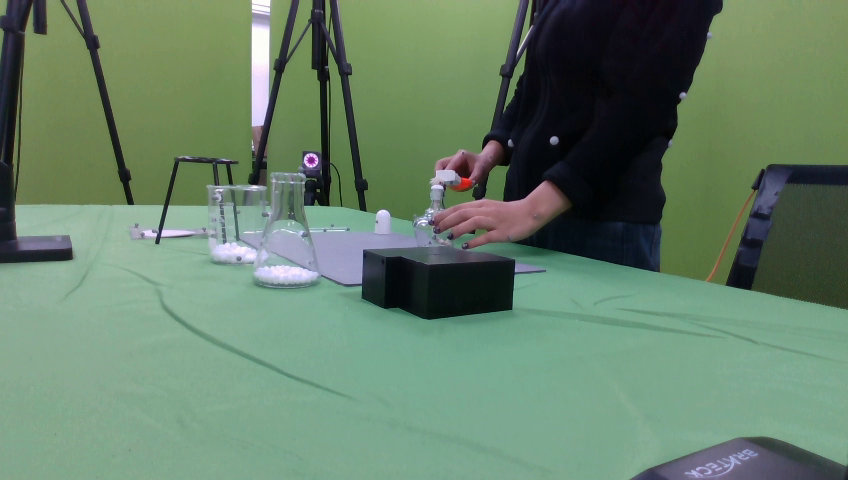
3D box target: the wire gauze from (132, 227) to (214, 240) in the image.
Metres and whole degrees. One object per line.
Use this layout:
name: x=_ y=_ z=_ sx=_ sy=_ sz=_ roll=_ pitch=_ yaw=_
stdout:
wire gauze: x=-0.425 y=-0.013 z=1.018 sx=0.122 sy=0.011 sz=0.124 roll=-1 pitch=6 yaw=-28

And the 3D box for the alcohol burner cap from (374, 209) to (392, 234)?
alcohol burner cap: x=-0.078 y=-0.036 z=1.148 sx=0.034 sy=0.048 sz=0.034 roll=2 pitch=7 yaw=0

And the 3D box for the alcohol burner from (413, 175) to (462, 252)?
alcohol burner: x=0.021 y=-0.041 z=0.948 sx=0.078 sy=0.119 sz=0.078 roll=0 pitch=7 yaw=0

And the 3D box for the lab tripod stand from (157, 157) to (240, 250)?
lab tripod stand: x=-0.322 y=-0.057 z=0.905 sx=0.148 sy=0.131 sz=0.148 roll=4 pitch=7 yaw=0

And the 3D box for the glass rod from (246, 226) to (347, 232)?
glass rod: x=-0.236 y=-0.021 z=1.140 sx=0.201 sy=0.008 sz=0.008 roll=-3 pitch=8 yaw=-33

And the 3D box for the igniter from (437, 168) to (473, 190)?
igniter: x=0.057 y=-0.109 z=1.095 sx=0.057 sy=0.025 sz=0.277 roll=1 pitch=2 yaw=9

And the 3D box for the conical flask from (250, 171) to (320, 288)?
conical flask: x=-0.150 y=-0.013 z=0.658 sx=0.075 sy=0.122 sz=0.075 roll=2 pitch=7 yaw=0

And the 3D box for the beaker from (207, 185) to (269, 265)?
beaker: x=-0.244 y=-0.021 z=0.784 sx=0.083 sy=0.100 sz=0.074 roll=6 pitch=8 yaw=30
